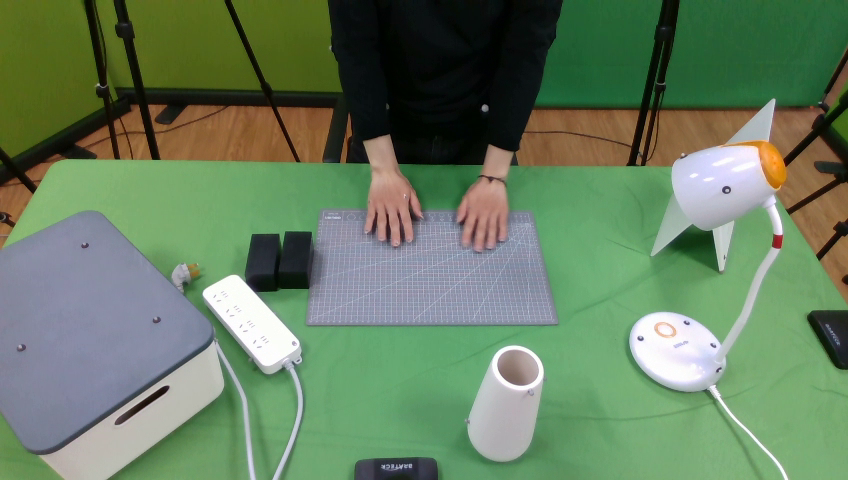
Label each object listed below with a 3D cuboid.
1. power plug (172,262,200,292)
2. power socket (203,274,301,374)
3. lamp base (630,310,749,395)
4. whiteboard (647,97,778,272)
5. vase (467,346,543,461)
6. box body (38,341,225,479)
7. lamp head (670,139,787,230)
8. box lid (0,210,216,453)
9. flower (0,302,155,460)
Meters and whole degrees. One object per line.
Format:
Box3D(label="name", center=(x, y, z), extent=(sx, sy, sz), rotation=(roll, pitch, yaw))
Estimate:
Box3D(label="power plug", center=(-0.428, 0.075, 1.100), extent=(0.053, 0.035, 0.072), rotation=(-17, 90, -27))
Box3D(label="power socket", center=(-0.297, 0.140, 1.035), extent=(0.072, 0.033, 0.225), rotation=(-32, 57, -29))
Box3D(label="lamp base", center=(0.447, 0.142, 0.984), extent=(0.161, 0.181, 0.178), rotation=(-24, 55, -24))
Box3D(label="whiteboard", center=(0.602, -0.079, 1.162), extent=(0.144, 0.306, 0.216), rotation=(35, 51, 2))
Box3D(label="vase", center=(0.116, 0.234, 0.861), extent=(0.098, 0.201, 0.097), rotation=(1, 47, -1))
Box3D(label="box body", center=(-0.506, 0.155, 0.915), extent=(0.362, 0.161, 0.254), rotation=(35, 54, 26))
Box3D(label="lamp head", center=(0.415, -0.079, 0.812), extent=(0.113, 0.123, 0.112), rotation=(12, 70, -37))
Box3D(label="box lid", center=(-0.504, 0.102, 0.863), extent=(0.369, 0.015, 0.263), rotation=(35, 53, 26))
Box3D(label="flower", center=(-0.553, 0.222, 0.944), extent=(0.361, 0.038, 0.044), rotation=(39, 62, 6))
